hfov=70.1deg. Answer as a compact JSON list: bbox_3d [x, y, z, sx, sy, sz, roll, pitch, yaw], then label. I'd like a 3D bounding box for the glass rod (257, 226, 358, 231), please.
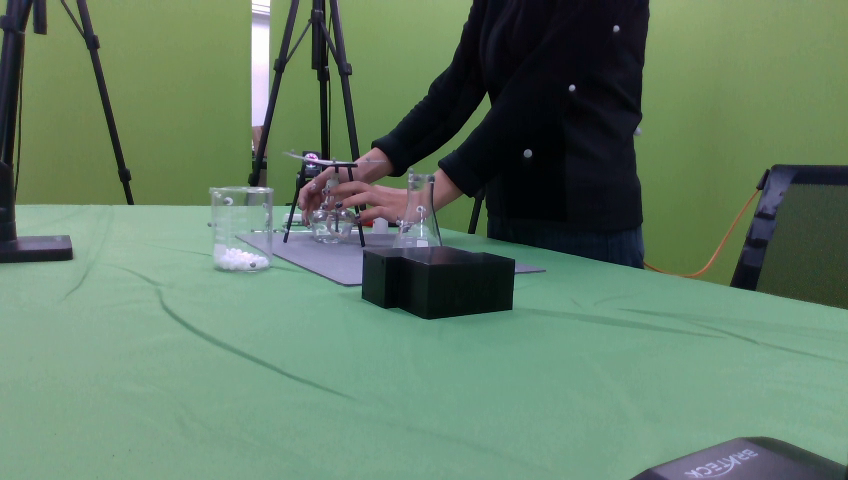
[{"bbox_3d":[-0.216,-0.022,1.151,0.201,0.008,0.008,-2,8,-28],"label":"glass rod"}]

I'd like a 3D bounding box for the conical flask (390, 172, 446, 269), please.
[{"bbox_3d":[-0.006,-0.027,0.790,0.075,0.122,0.075,2,7,0],"label":"conical flask"}]

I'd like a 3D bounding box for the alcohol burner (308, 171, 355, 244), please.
[{"bbox_3d":[-0.152,-0.054,0.993,0.078,0.119,0.078,2,6,0],"label":"alcohol burner"}]

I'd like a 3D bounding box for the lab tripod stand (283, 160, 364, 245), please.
[{"bbox_3d":[-0.151,-0.063,0.983,0.148,0.131,0.148,4,7,0],"label":"lab tripod stand"}]

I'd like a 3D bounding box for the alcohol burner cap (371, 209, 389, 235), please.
[{"bbox_3d":[-0.082,-0.035,1.143,0.034,0.048,0.034,3,6,0],"label":"alcohol burner cap"}]

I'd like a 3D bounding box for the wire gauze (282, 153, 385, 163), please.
[{"bbox_3d":[-0.145,-0.129,0.972,0.124,0.011,0.122,11,10,42],"label":"wire gauze"}]

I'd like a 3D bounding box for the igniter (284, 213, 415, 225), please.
[{"bbox_3d":[-0.154,-0.045,1.282,0.278,0.025,0.057,0,-3,-20],"label":"igniter"}]

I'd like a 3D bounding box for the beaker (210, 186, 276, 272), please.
[{"bbox_3d":[-0.224,-0.014,0.738,0.084,0.100,0.074,4,7,16],"label":"beaker"}]
